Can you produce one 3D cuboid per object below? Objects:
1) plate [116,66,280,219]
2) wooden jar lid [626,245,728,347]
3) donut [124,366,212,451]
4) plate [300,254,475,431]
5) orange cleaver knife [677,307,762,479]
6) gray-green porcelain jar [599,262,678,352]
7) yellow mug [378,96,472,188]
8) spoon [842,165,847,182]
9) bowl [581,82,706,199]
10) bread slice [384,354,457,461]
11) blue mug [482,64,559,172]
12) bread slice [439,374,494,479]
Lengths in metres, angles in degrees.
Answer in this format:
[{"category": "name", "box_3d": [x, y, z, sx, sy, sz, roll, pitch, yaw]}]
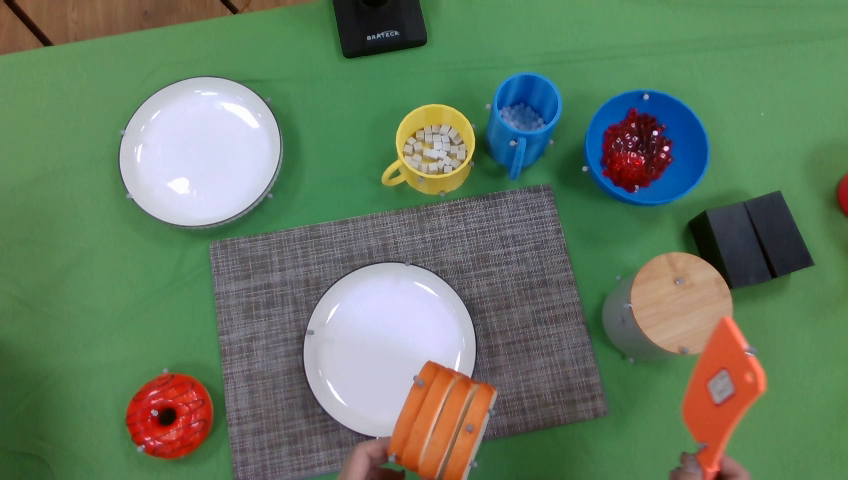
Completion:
[{"category": "plate", "box_3d": [-0.289, -0.125, 0.789, 0.208, 0.039, 0.206, 0, 77, -1]}, {"category": "wooden jar lid", "box_3d": [0.265, 0.059, 0.641, 0.108, 0.021, 0.108, 1, 77, -3]}, {"category": "donut", "box_3d": [-0.298, 0.197, 0.711, 0.099, 0.048, 0.098, 1, 76, -3]}, {"category": "plate", "box_3d": [-0.043, 0.121, 0.729, 0.209, 0.038, 0.208, 0, 76, 0]}, {"category": "orange cleaver knife", "box_3d": [0.248, 0.156, 0.537, 0.012, 0.213, 0.076, -6, 34, -9]}, {"category": "gray-green porcelain jar", "box_3d": [0.266, 0.075, 0.702, 0.106, 0.127, 0.105, 0, 76, 0]}, {"category": "yellow mug", "box_3d": [-0.002, -0.117, 0.775, 0.131, 0.064, 0.099, -32, 78, -6]}, {"category": "spoon", "box_3d": [0.617, -0.072, 0.729, 0.192, 0.022, 0.041, 15, 67, 49]}, {"category": "bowl", "box_3d": [0.268, -0.115, 0.771, 0.151, 0.077, 0.150, 0, 77, 0]}, {"category": "bread slice", "box_3d": [-0.001, 0.165, 0.602, 0.018, 0.135, 0.106, 20, 71, 18]}, {"category": "blue mug", "box_3d": [0.117, -0.143, 0.763, 0.082, 0.106, 0.116, 9, 77, 2]}, {"category": "bread slice", "box_3d": [0.043, 0.182, 0.586, 0.019, 0.132, 0.104, 20, 77, 12]}]
